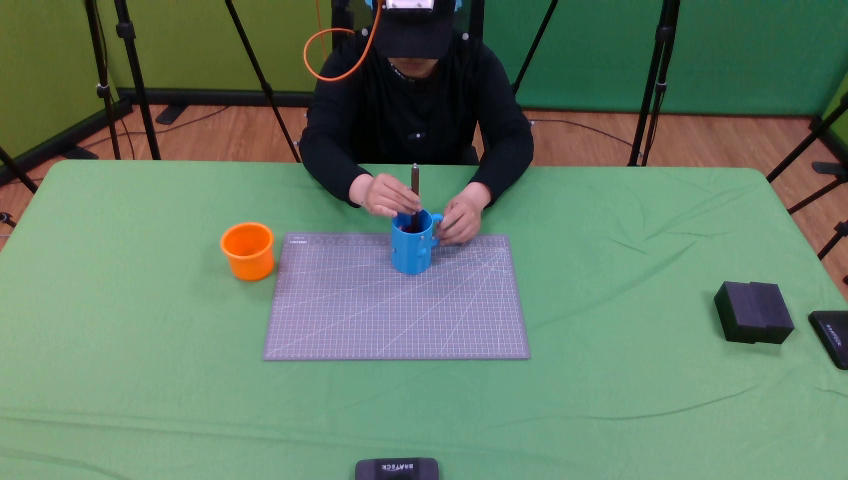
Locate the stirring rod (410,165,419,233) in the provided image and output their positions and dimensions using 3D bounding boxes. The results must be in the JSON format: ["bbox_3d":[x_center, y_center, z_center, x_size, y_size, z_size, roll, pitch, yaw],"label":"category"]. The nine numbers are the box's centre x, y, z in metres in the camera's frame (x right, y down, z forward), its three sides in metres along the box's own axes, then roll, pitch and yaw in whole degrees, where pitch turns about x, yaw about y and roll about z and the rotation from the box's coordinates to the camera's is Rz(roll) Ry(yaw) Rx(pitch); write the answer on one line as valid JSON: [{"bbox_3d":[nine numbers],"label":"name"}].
[{"bbox_3d":[-0.018,-0.066,1.094,0.014,0.177,0.006,8,48,5],"label":"stirring rod"}]

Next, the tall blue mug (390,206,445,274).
[{"bbox_3d":[-0.017,-0.009,1.143,0.077,0.108,0.107,23,49,19],"label":"tall blue mug"}]
